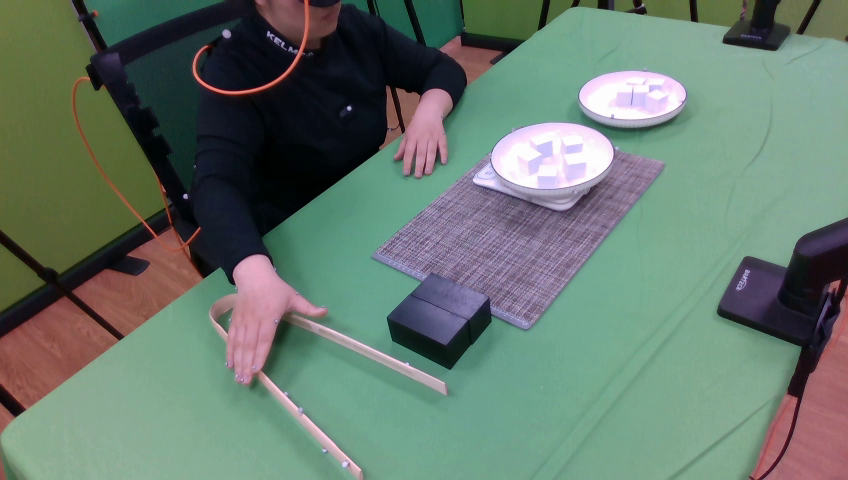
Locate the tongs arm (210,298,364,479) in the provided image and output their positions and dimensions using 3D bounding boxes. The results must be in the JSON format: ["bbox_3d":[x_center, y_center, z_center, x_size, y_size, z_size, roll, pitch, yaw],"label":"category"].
[{"bbox_3d":[-0.186,0.180,0.794,0.381,0.026,0.051,28,51,37],"label":"tongs arm"}]

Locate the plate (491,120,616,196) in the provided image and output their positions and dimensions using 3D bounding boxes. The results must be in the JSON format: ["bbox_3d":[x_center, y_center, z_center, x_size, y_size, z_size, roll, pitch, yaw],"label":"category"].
[{"bbox_3d":[0.220,-0.137,1.038,0.207,0.039,0.206,-6,41,5],"label":"plate"}]

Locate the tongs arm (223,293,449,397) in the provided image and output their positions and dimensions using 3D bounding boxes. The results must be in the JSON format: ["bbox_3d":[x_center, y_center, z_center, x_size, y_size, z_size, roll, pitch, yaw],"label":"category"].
[{"bbox_3d":[-0.134,0.139,0.839,0.385,0.028,0.028,17,49,28],"label":"tongs arm"}]

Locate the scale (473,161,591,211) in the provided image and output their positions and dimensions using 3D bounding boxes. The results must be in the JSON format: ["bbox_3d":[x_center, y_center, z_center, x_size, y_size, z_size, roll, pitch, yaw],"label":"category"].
[{"bbox_3d":[0.202,-0.121,1.074,0.199,0.032,0.149,23,49,33],"label":"scale"}]

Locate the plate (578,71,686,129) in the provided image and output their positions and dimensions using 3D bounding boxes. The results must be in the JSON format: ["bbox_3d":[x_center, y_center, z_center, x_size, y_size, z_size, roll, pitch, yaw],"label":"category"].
[{"bbox_3d":[0.416,-0.280,1.222,0.209,0.038,0.208,-5,41,5],"label":"plate"}]
